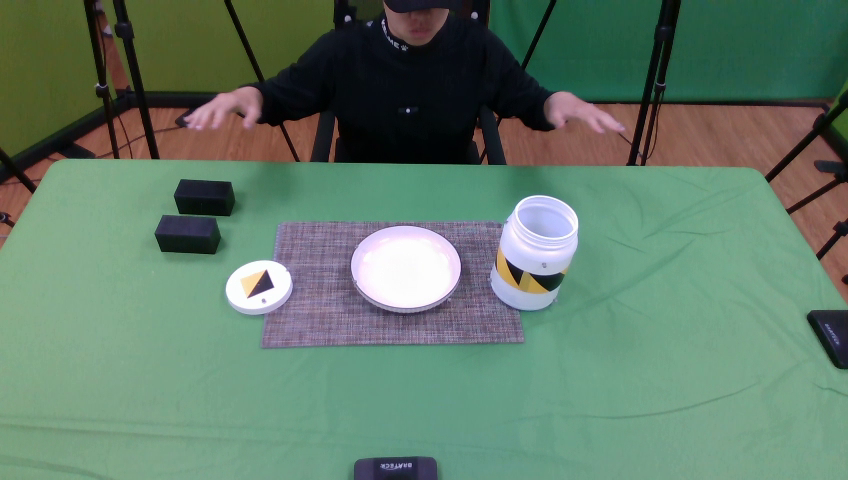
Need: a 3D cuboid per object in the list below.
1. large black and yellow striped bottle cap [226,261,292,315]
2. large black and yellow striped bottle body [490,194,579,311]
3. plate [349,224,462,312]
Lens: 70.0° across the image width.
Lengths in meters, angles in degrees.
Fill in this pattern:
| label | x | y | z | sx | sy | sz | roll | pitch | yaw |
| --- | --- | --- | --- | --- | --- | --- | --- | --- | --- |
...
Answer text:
| label | x | y | z | sx | sy | sz | roll | pitch | yaw |
| --- | --- | --- | --- | --- | --- | --- | --- | --- | --- |
| large black and yellow striped bottle cap | -0.298 | 0.085 | 1.092 | 0.115 | 0.019 | 0.114 | 0 | 45 | 1 |
| large black and yellow striped bottle body | 0.196 | 0.022 | 1.073 | 0.131 | 0.185 | 0.130 | 4 | 46 | -4 |
| plate | -0.035 | 0.054 | 1.126 | 0.208 | 0.039 | 0.206 | 2 | 46 | -2 |
